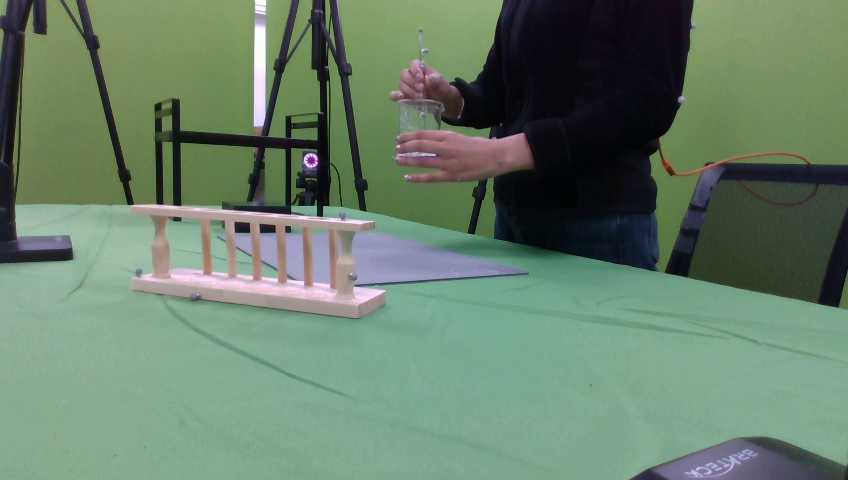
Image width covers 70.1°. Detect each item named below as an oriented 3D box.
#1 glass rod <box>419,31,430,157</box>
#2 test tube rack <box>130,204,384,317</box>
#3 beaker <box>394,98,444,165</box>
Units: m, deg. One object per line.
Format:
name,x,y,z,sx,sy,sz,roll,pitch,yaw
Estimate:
glass rod,0.001,-0.232,0.968,0.008,0.199,0.008,-4,4,1
test tube rack,-0.162,0.013,0.589,0.242,0.085,0.067,5,8,17
beaker,-0.008,-0.170,0.958,0.084,0.100,0.073,-1,7,-27
